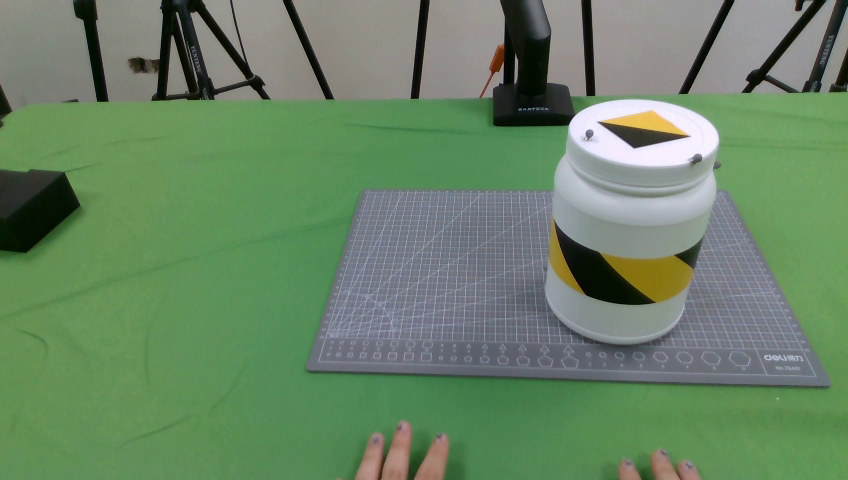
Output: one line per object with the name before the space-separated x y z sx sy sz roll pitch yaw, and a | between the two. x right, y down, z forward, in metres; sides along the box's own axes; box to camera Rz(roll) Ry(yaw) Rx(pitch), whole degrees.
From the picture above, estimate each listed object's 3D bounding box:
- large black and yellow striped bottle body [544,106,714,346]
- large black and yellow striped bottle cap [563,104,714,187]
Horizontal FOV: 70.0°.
large black and yellow striped bottle body | 0.177 -0.012 0.539 0.131 0.185 0.129 -2 38 2
large black and yellow striped bottle cap | 0.171 -0.079 0.487 0.115 0.019 0.114 -1 37 1
